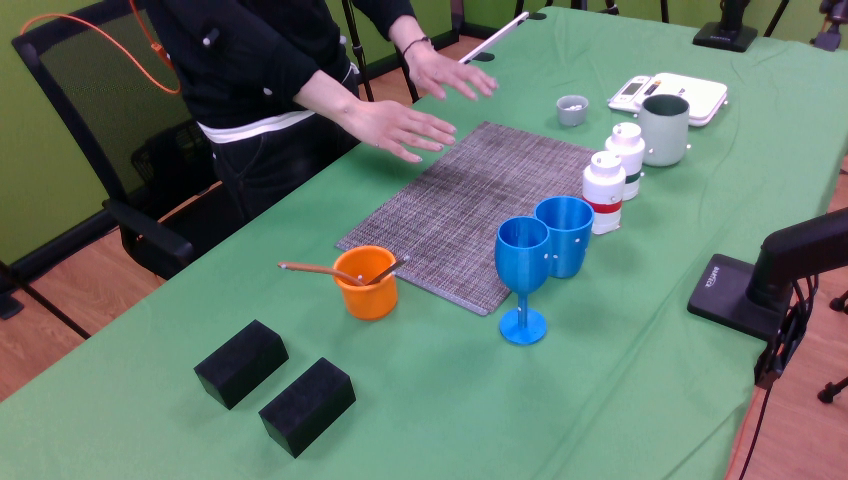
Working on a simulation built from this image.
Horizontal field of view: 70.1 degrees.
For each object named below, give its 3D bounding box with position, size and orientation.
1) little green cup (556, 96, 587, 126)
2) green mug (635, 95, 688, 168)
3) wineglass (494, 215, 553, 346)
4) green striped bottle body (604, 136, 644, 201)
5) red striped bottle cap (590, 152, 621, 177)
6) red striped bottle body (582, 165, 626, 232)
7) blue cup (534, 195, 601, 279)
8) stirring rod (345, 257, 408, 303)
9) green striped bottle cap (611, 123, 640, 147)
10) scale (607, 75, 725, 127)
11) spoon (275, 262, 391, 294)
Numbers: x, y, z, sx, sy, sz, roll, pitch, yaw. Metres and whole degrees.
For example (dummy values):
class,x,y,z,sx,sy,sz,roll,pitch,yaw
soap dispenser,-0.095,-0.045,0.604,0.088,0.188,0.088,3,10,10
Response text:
class,x,y,z,sx,sy,sz,roll,pitch,yaw
little green cup,0.295,-0.258,1.214,0.061,0.039,0.061,-4,42,4
green mug,0.421,-0.201,1.081,0.092,0.105,0.125,5,42,15
wineglass,0.127,0.055,0.770,0.074,0.173,0.073,-4,40,4
green striped bottle body,0.326,-0.128,0.997,0.063,0.120,0.063,-4,41,4
red striped bottle cap,0.273,-0.114,0.907,0.044,0.018,0.044,-5,39,4
red striped bottle body,0.279,-0.075,0.942,0.063,0.120,0.062,-5,41,4
blue cup,0.201,0.000,0.879,0.092,0.100,0.092,-3,39,3
stirring rod,-0.067,0.057,0.815,0.014,0.175,0.006,-25,82,-38
green striped bottle cap,0.322,-0.168,0.963,0.044,0.020,0.044,-4,41,4
scale,0.490,-0.287,1.226,0.199,0.032,0.149,22,48,30
spoon,-0.120,0.050,0.830,0.041,0.195,0.021,31,97,45
